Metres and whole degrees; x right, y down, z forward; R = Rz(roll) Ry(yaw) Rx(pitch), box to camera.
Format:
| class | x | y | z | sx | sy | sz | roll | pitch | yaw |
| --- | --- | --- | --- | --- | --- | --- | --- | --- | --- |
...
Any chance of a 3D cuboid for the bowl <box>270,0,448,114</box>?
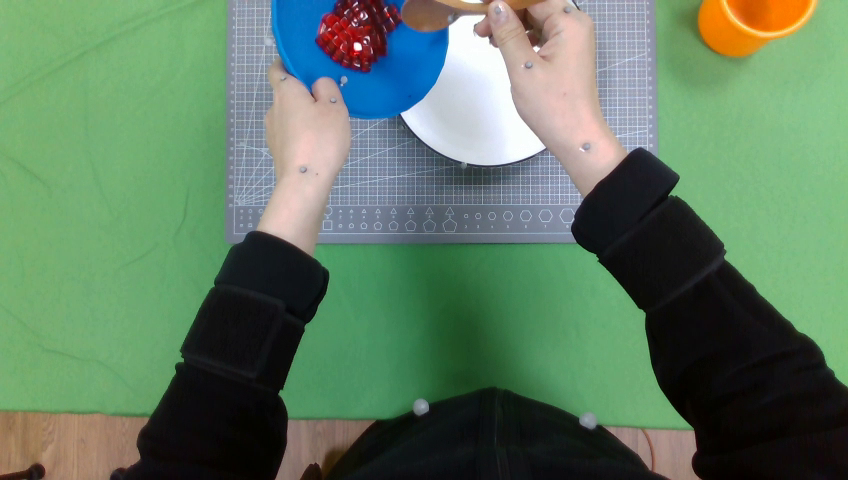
| class | x | y | z | sx | sy | sz | roll | pitch | yaw |
| --- | --- | --- | --- | --- | --- | --- | --- | --- | --- |
| bowl | -0.063 | -0.182 | 0.515 | 0.152 | 0.076 | 0.152 | -5 | 101 | -27 |

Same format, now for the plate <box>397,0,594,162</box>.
| class | x | y | z | sx | sy | sz | roll | pitch | yaw |
| --- | --- | --- | --- | --- | --- | --- | --- | --- | --- |
| plate | 0.065 | -0.181 | 0.617 | 0.209 | 0.038 | 0.209 | 0 | 88 | 2 |

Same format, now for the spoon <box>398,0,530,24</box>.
| class | x | y | z | sx | sy | sz | roll | pitch | yaw |
| --- | --- | --- | --- | --- | --- | --- | --- | --- | --- |
| spoon | 0.040 | -0.172 | 0.432 | 0.042 | 0.192 | 0.021 | 22 | 91 | -37 |
